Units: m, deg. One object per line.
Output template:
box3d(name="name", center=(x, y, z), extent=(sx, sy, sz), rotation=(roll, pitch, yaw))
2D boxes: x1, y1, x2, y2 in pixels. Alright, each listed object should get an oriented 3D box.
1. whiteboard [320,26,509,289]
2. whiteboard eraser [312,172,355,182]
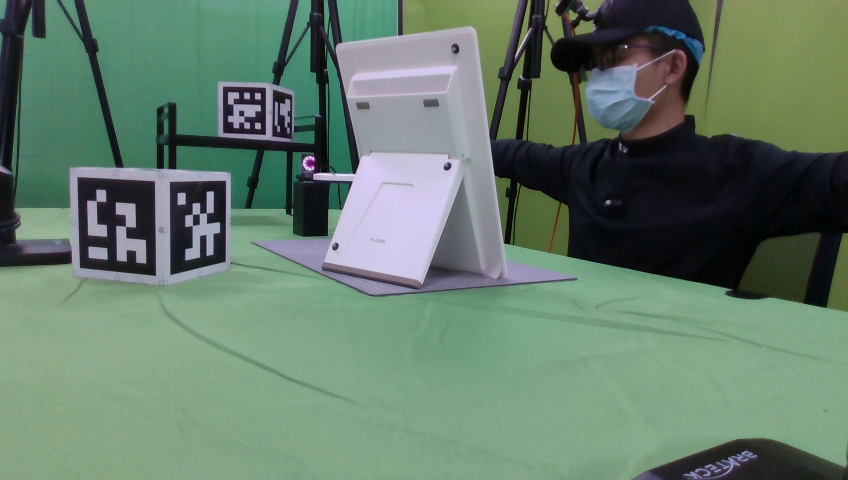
box3d(name="whiteboard", center=(-0.045, -0.076, 0.721), extent=(0.216, 0.305, 0.144), rotation=(9, 29, 39))
box3d(name="whiteboard eraser", center=(-0.165, -0.121, 1.155), extent=(0.102, 0.019, 0.041), rotation=(-2, 7, -34))
